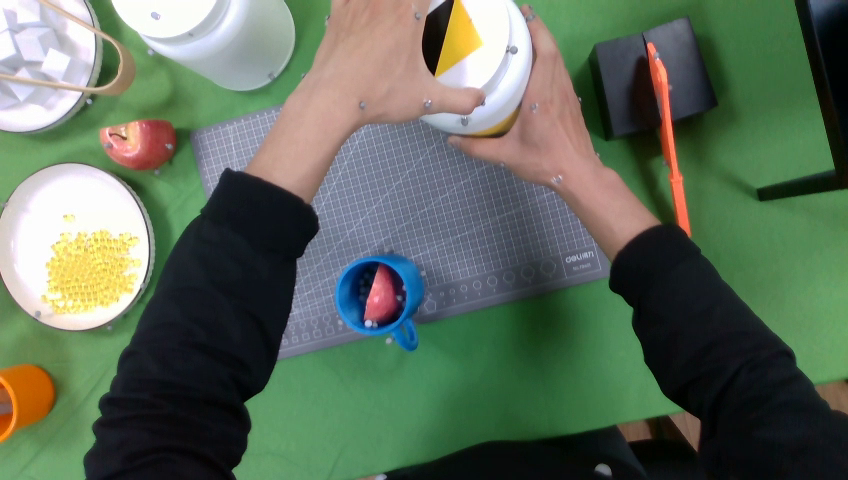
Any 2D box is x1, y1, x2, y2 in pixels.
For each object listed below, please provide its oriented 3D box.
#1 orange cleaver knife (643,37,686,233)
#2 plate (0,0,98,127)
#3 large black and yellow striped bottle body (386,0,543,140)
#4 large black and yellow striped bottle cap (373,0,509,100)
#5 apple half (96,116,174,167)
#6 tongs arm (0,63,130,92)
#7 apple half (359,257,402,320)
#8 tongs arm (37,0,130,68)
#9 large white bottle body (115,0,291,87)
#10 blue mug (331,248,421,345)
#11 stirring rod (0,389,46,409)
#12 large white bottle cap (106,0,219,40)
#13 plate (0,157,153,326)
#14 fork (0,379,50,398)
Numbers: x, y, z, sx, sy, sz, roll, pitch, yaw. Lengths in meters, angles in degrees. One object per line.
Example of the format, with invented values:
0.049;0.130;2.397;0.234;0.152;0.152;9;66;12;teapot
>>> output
0.258;-0.109;0.652;0.012;0.076;0.213;-13;117;16;orange cleaver knife
-0.499;-0.243;0.754;0.207;0.039;0.207;0;93;6;plate
0.039;-0.174;0.583;0.130;0.184;0.130;0;90;18;large black and yellow striped bottle body
0.013;-0.176;0.503;0.114;0.019;0.115;0;92;17;large black and yellow striped bottle cap
-0.340;-0.115;0.724;0.081;0.074;0.053;-11;95;3;apple half
-0.538;-0.224;0.726;0.384;0.026;0.051;14;91;8;tongs arm
-0.040;0.056;0.673;0.032;0.081;0.081;17;94;13;apple half
-0.511;-0.303;0.722;0.387;0.028;0.028;28;89;7;tongs arm
-0.234;-0.249;0.650;0.130;0.185;0.130;0;91;7;large white bottle body
-0.042;0.065;0.679;0.082;0.106;0.116;-30;89;7;blue mug
-0.556;0.206;0.726;0.177;0.006;0.014;-7;80;-33;stirring rod
-0.245;-0.247;0.566;0.114;0.018;0.115;0;92;7;large white bottle cap
-0.433;0.002;0.757;0.209;0.038;0.209;0;93;7;plate
-0.570;0.189;0.724;0.209;0.018;0.028;1;92;-37;fork
